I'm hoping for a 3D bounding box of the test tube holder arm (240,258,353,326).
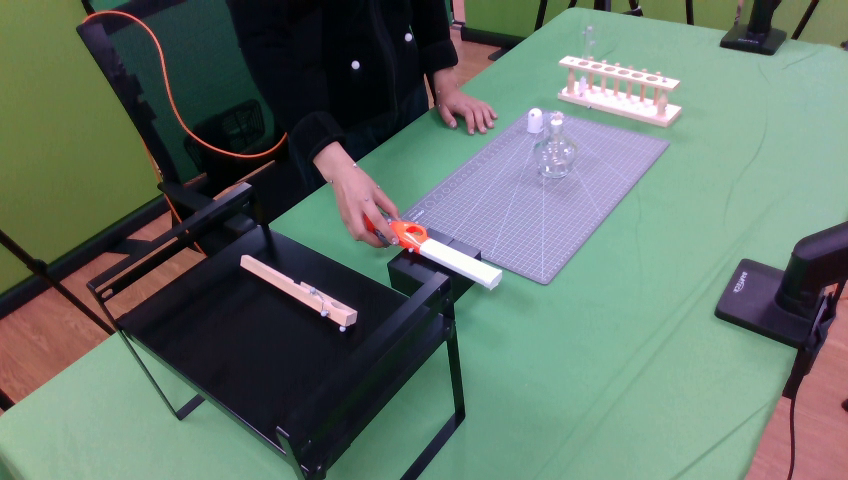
[{"bbox_3d":[-0.143,0.053,0.658,0.177,0.015,0.013,21,14,32],"label":"test tube holder arm"}]

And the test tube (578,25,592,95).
[{"bbox_3d":[0.326,-0.362,1.227,0.017,0.151,0.017,-3,44,4],"label":"test tube"}]

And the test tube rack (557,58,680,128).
[{"bbox_3d":[0.395,-0.309,1.230,0.240,0.085,0.067,25,50,33],"label":"test tube rack"}]

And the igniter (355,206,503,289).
[{"bbox_3d":[-0.004,0.005,0.892,0.274,0.025,0.057,25,47,32],"label":"igniter"}]

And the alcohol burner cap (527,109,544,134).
[{"bbox_3d":[0.222,-0.238,1.203,0.034,0.048,0.033,-5,40,5],"label":"alcohol burner cap"}]

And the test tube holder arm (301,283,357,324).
[{"bbox_3d":[-0.105,0.066,0.638,0.087,0.015,0.010,22,14,33],"label":"test tube holder arm"}]

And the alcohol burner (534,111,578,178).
[{"bbox_3d":[0.232,-0.170,1.065,0.078,0.119,0.077,-5,39,4],"label":"alcohol burner"}]
